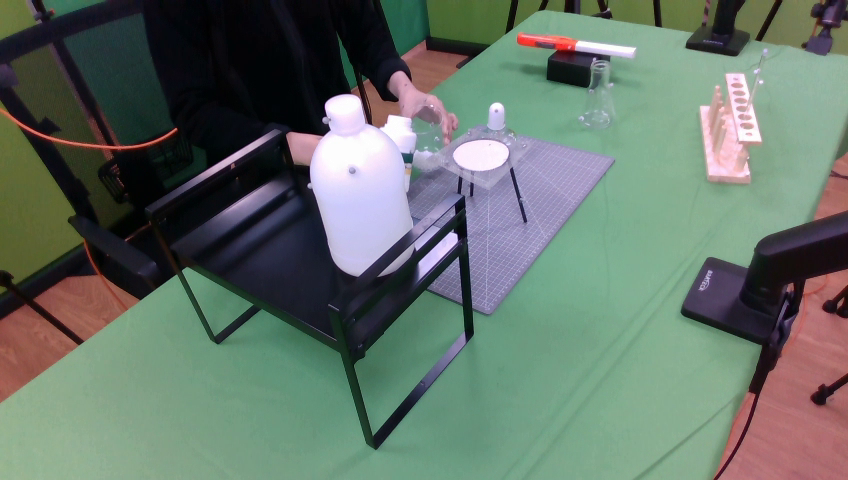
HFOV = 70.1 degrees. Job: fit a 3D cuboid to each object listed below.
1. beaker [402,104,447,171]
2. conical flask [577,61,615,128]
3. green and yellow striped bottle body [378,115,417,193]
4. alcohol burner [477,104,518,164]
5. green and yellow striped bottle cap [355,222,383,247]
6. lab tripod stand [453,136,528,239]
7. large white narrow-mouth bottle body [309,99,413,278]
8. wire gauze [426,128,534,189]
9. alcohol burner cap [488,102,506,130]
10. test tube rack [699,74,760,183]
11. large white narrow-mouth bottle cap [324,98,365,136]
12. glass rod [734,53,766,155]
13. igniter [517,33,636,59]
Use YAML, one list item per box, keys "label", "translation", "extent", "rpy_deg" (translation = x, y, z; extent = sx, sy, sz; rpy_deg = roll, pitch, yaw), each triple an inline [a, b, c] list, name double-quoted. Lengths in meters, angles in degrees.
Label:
- label: "beaker"
  translation: [0.004, -0.179, 1.068]
  extent: [0.073, 0.101, 0.084]
  rpy_deg: [25, 60, 24]
- label: "conical flask"
  translation: [0.343, -0.288, 1.188]
  extent: [0.075, 0.122, 0.075]
  rpy_deg: [-4, 41, 4]
- label: "green and yellow striped bottle body"
  translation: [-0.047, -0.140, 0.982]
  extent: [0.063, 0.119, 0.063]
  rpy_deg: [8, 15, -2]
- label: "alcohol burner"
  translation: [0.135, -0.200, 1.117]
  extent: [0.078, 0.119, 0.077]
  rpy_deg: [-4, 43, 4]
- label: "green and yellow striped bottle cap"
  translation: [-0.092, -0.009, 1.001]
  extent: [0.045, 0.020, 0.045]
  rpy_deg: [-2, 39, 2]
- label: "lab tripod stand"
  translation: [0.094, -0.086, 0.974]
  extent: [0.148, 0.132, 0.147]
  rpy_deg: [-4, 43, 4]
- label: "large white narrow-mouth bottle body"
  translation: [-0.068, -0.057, 0.644]
  extent: [0.102, 0.195, 0.101]
  rpy_deg: [-3, 42, 4]
- label: "wire gauze"
  translation: [0.086, -0.131, 0.924]
  extent: [0.124, 0.011, 0.122]
  rpy_deg: [26, 52, 33]
- label: "alcohol burner cap"
  translation: [0.133, -0.227, 1.092]
  extent: [0.034, 0.048, 0.033]
  rpy_deg: [-1, 47, 2]
- label: "test tube rack"
  translation: [0.547, -0.208, 1.095]
  extent: [0.066, 0.085, 0.242]
  rpy_deg: [6, 42, 16]
- label: "large white narrow-mouth bottle cap"
  translation: [-0.076, -0.119, 0.585]
  extent: [0.038, 0.024, 0.037]
  rpy_deg: [-3, 42, 3]
- label: "glass rod"
  translation: [0.540, -0.220, 1.007]
  extent: [0.008, 0.201, 0.008]
  rpy_deg: [-5, 46, 6]
- label: "igniter"
  translation: [0.336, -0.441, 1.369]
  extent: [0.275, 0.025, 0.057]
  rpy_deg: [16, 41, 23]
